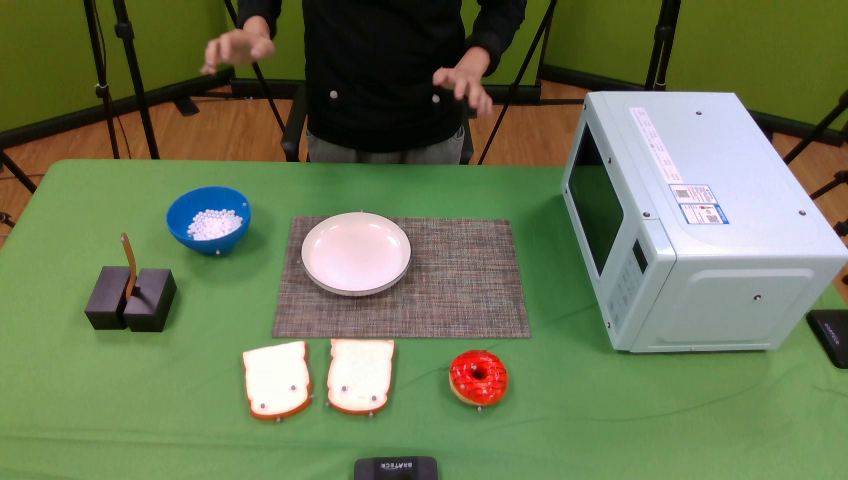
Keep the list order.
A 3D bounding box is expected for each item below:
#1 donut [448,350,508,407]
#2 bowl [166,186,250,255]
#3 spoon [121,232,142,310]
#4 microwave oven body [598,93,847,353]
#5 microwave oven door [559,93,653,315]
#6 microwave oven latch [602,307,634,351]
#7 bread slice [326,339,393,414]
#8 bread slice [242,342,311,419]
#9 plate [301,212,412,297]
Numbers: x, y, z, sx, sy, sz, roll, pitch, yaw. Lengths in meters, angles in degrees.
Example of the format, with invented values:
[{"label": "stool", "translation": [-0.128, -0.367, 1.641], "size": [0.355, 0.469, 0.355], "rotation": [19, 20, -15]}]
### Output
[{"label": "donut", "translation": [0.087, 0.223, 0.977], "size": [0.099, 0.048, 0.098], "rotation": [4, 46, -4]}, {"label": "bowl", "translation": [-0.403, -0.024, 1.154], "size": [0.151, 0.077, 0.150], "rotation": [2, 46, -2]}, {"label": "spoon", "translation": [-0.479, 0.051, 0.993], "size": [0.022, 0.194, 0.041], "rotation": [13, 46, -11]}, {"label": "microwave oven body", "translation": [0.475, -0.041, 1.109], "size": [0.326, 0.261, 0.438], "rotation": [-1, 45, -4]}, {"label": "microwave oven door", "translation": [0.327, -0.074, 1.123], "size": [0.039, 0.245, 0.353], "rotation": [-1, 46, -5]}, {"label": "microwave oven latch", "translation": [0.332, 0.153, 1.044], "size": [0.030, 0.029, 0.078], "rotation": [-1, 45, -4]}, {"label": "bread slice", "translation": [-0.104, 0.219, 0.983], "size": [0.107, 0.018, 0.133], "rotation": [0, 45, -4]}, {"label": "bread slice", "translation": [-0.234, 0.223, 0.970], "size": [0.105, 0.019, 0.130], "rotation": [-10, 46, -13]}, {"label": "plate", "translation": [-0.126, 0.031, 1.146], "size": [0.208, 0.039, 0.206], "rotation": [2, 46, -2]}]
